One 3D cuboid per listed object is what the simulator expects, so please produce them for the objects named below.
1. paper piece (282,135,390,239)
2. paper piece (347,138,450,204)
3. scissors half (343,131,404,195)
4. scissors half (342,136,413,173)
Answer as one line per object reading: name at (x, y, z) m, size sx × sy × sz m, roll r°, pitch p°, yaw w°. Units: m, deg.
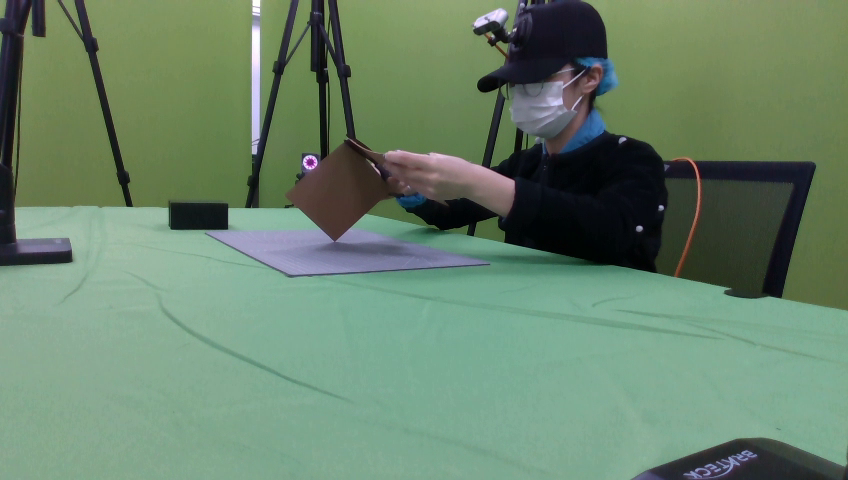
paper piece at (-0.139, -0.083, 0.985) m, size 0.136 × 0.136 × 0.004 m, roll 48°, pitch -2°, yaw -43°
paper piece at (-0.039, -0.108, 0.938) m, size 0.137 × 0.008 × 0.137 m, roll 27°, pitch 5°, yaw -46°
scissors half at (-0.083, -0.125, 0.997) m, size 0.012 × 0.040 × 0.176 m, roll 20°, pitch -18°, yaw 39°
scissors half at (-0.074, -0.145, 0.999) m, size 0.013 × 0.040 × 0.176 m, roll 14°, pitch 1°, yaw 38°
